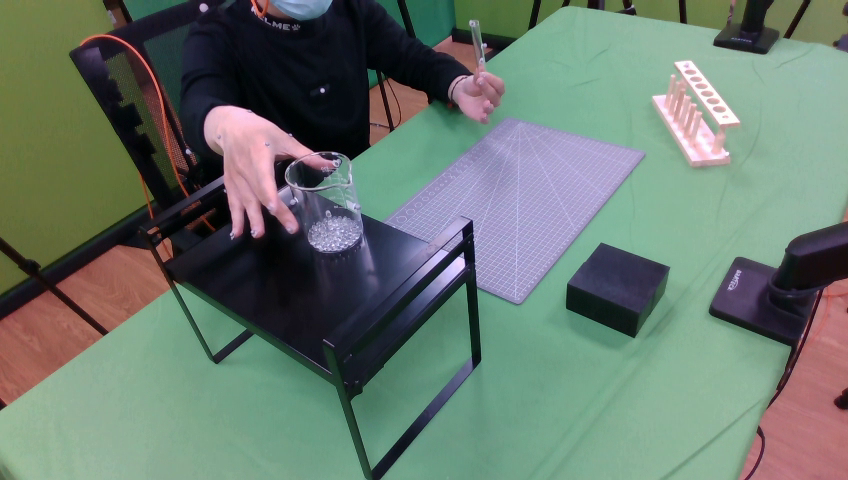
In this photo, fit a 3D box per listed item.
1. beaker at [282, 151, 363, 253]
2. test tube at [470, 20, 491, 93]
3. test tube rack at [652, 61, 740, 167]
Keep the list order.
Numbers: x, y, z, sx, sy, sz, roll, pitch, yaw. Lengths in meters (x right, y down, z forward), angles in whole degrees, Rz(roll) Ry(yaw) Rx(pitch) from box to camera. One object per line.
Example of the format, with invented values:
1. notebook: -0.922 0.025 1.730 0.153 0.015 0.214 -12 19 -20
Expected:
1. beaker: -0.110 -0.041 0.698 0.083 0.101 0.074 18 48 26
2. test tube: 0.097 -0.311 1.037 0.017 0.151 0.017 -7 54 11
3. test tube rack: 0.499 -0.242 1.130 0.067 0.085 0.241 -5 41 3
